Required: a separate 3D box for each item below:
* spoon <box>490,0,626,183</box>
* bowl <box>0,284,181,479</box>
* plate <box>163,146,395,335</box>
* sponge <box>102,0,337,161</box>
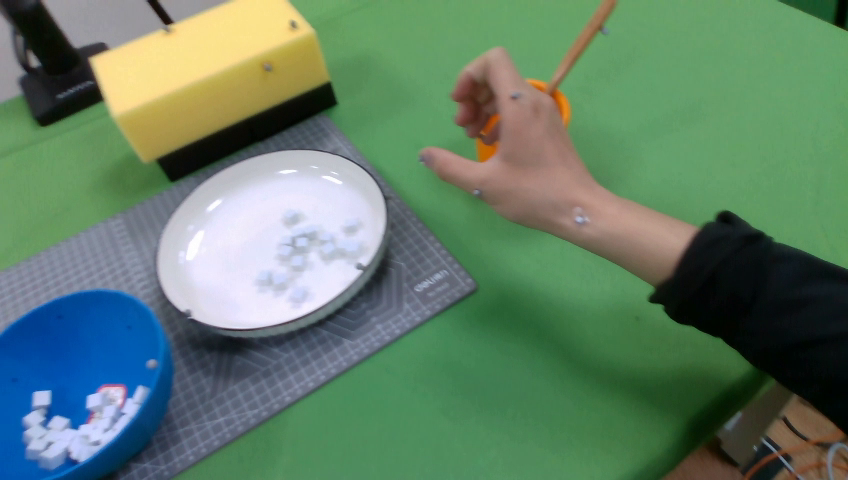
[{"bbox_3d":[0.121,-0.134,0.550,0.022,0.194,0.041,2,37,-52],"label":"spoon"},{"bbox_3d":[-0.244,0.115,0.450,0.151,0.077,0.150,-4,51,6],"label":"bowl"},{"bbox_3d":[-0.128,-0.001,0.551,0.209,0.038,0.207,-4,52,5],"label":"plate"},{"bbox_3d":[-0.210,-0.178,0.630,0.207,0.061,0.117,-28,53,-14],"label":"sponge"}]
